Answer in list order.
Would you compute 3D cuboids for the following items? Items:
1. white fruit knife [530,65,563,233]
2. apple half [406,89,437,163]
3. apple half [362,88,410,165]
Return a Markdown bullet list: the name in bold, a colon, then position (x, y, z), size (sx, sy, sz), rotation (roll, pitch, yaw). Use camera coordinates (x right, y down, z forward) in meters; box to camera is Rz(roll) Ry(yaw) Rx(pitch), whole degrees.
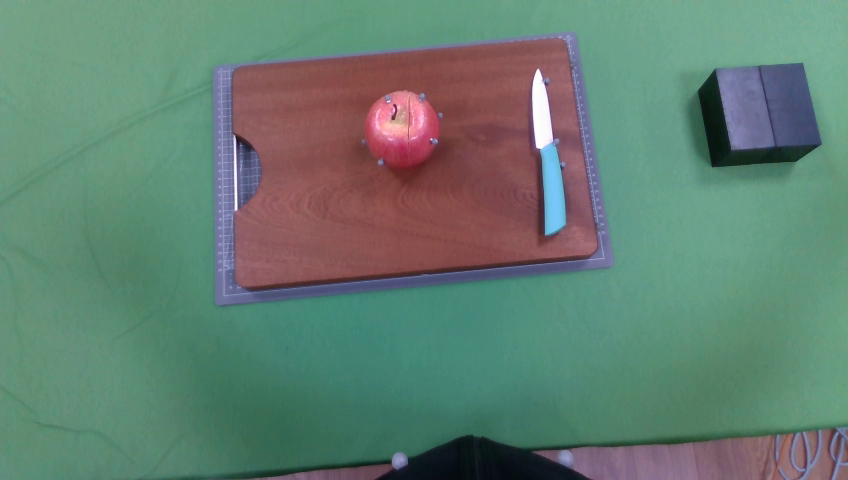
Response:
- **white fruit knife**: position (0.136, -0.107, 0.683), size (0.027, 0.016, 0.206), rotation (0, 75, -12)
- **apple half**: position (-0.002, -0.122, 0.658), size (0.033, 0.082, 0.081), rotation (0, 76, 4)
- **apple half**: position (-0.040, -0.121, 0.661), size (0.053, 0.075, 0.080), rotation (-1, 79, 5)
